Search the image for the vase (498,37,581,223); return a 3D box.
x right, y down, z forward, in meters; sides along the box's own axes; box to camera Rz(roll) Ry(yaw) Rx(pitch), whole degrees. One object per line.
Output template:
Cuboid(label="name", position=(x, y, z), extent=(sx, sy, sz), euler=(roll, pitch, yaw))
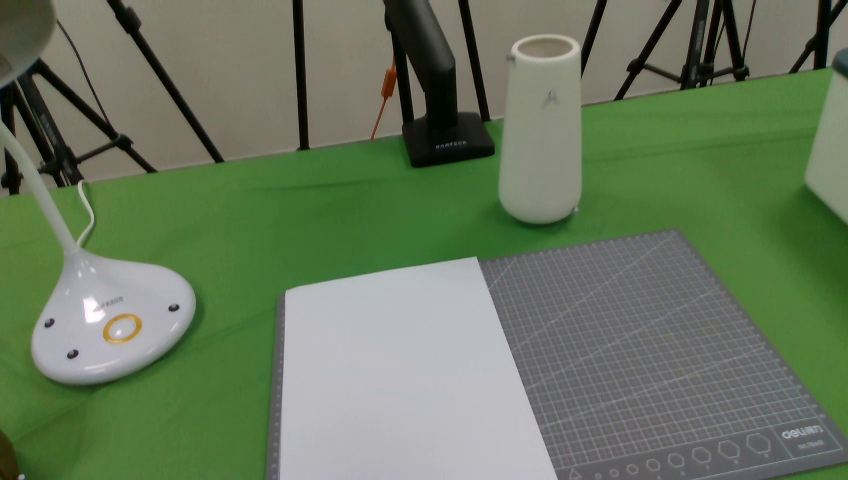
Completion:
Cuboid(label="vase", position=(0.130, -0.118, 0.679), extent=(0.098, 0.202, 0.097), euler=(-5, 37, 4))

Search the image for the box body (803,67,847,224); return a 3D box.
Cuboid(label="box body", position=(0.576, -0.046, 0.557), extent=(0.254, 0.162, 0.360), euler=(-8, 38, -2))

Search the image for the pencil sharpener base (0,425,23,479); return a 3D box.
Cuboid(label="pencil sharpener base", position=(-0.365, 0.161, 0.461), extent=(0.061, 0.108, 0.076), euler=(-29, 43, -25))

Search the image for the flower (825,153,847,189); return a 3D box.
Cuboid(label="flower", position=(0.590, 0.002, 0.605), extent=(0.044, 0.038, 0.358), euler=(-25, 46, -28))

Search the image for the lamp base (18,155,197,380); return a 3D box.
Cuboid(label="lamp base", position=(-0.333, 0.015, 0.584), extent=(0.177, 0.182, 0.160), euler=(25, 47, 36))

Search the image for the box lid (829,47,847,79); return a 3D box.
Cuboid(label="box lid", position=(0.568, -0.103, 0.508), extent=(0.263, 0.015, 0.367), euler=(-8, 38, -2))

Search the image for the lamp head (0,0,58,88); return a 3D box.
Cuboid(label="lamp head", position=(-0.304, -0.154, 0.355), extent=(0.123, 0.112, 0.112), euler=(47, 53, 1))
